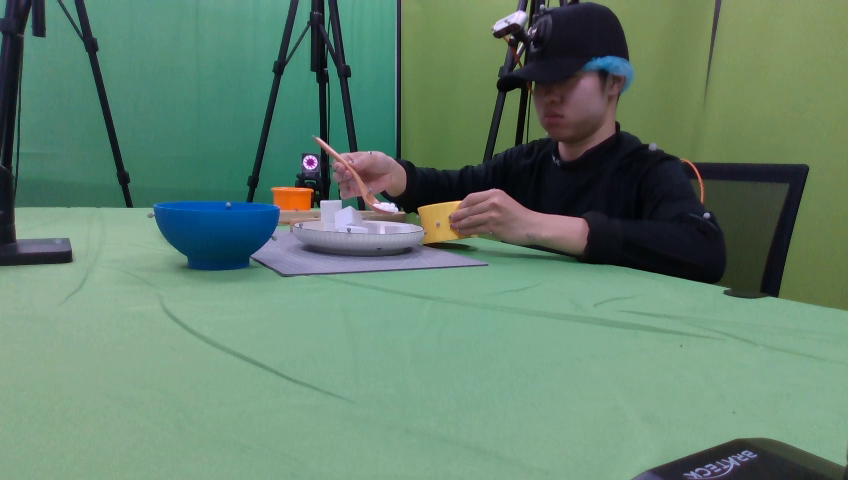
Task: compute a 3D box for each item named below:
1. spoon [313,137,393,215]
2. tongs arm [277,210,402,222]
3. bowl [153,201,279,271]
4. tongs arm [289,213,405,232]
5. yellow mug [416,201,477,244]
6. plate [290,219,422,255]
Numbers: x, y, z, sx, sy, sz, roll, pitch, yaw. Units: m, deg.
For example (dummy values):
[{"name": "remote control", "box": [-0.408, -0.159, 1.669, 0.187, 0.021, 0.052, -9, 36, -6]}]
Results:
[{"name": "spoon", "box": [-0.114, -0.102, 0.945, 0.193, 0.021, 0.042, 50, 21, 21]}, {"name": "tongs arm", "box": [-0.207, -0.051, 1.333, 0.387, 0.026, 0.050, -2, 8, -44]}, {"name": "bowl", "box": [-0.263, -0.005, 0.772, 0.151, 0.077, 0.151, 3, 8, 0]}, {"name": "tongs arm", "box": [-0.146, -0.039, 1.281, 0.028, 0.028, 0.389, 3, 5, 33]}, {"name": "yellow mug", "box": [0.047, -0.031, 1.043, 0.100, 0.064, 0.130, -7, 0, -31]}, {"name": "plate", "box": [-0.108, -0.005, 0.963, 0.208, 0.039, 0.207, 3, 7, 0]}]
